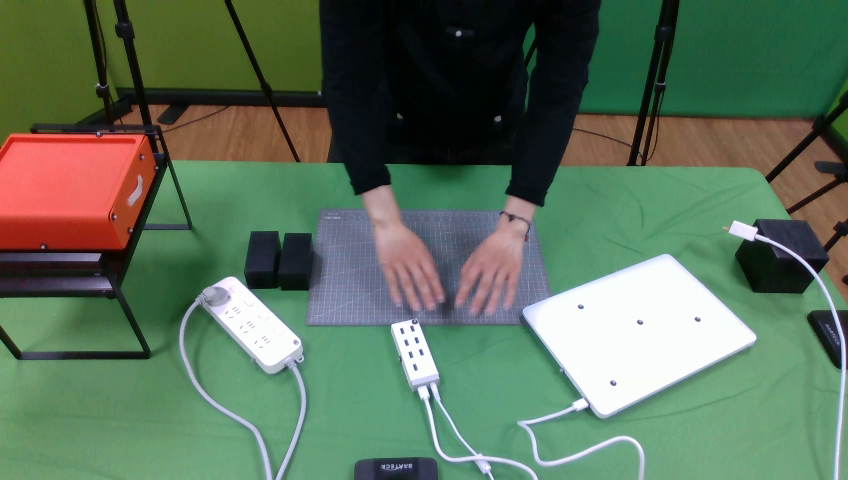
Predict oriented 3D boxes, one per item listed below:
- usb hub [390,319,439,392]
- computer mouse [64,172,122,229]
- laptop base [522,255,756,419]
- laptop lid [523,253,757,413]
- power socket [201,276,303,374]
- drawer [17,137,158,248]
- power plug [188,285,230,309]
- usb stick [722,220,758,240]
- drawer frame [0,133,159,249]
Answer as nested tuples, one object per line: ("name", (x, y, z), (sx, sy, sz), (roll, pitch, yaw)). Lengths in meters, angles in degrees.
("usb hub", (-0.016, 0.190, 1.013), (0.049, 0.025, 0.124), (-11, 48, -15))
("computer mouse", (-0.521, -0.067, 0.954), (0.063, 0.041, 0.116), (1, 49, -9))
("laptop base", (0.381, 0.157, 1.080), (0.355, 0.023, 0.234), (-18, 48, -20))
("laptop lid", (0.380, 0.147, 1.073), (0.357, 0.013, 0.240), (-17, 48, -19))
("power socket", (-0.297, 0.141, 1.034), (0.225, 0.033, 0.072), (37, 55, 27))
("drawer", (-0.549, -0.078, 0.944), (0.212, 0.073, 0.193), (0, 47, -3))
("power plug", (-0.370, 0.103, 1.039), (0.072, 0.053, 0.035), (-26, 54, -23))
("usb stick", (0.593, -0.021, 1.139), (0.059, 0.027, 0.021), (22, 12, 29))
("drawer frame", (-0.553, -0.078, 0.942), (0.214, 0.083, 0.200), (-1, 47, -4))
